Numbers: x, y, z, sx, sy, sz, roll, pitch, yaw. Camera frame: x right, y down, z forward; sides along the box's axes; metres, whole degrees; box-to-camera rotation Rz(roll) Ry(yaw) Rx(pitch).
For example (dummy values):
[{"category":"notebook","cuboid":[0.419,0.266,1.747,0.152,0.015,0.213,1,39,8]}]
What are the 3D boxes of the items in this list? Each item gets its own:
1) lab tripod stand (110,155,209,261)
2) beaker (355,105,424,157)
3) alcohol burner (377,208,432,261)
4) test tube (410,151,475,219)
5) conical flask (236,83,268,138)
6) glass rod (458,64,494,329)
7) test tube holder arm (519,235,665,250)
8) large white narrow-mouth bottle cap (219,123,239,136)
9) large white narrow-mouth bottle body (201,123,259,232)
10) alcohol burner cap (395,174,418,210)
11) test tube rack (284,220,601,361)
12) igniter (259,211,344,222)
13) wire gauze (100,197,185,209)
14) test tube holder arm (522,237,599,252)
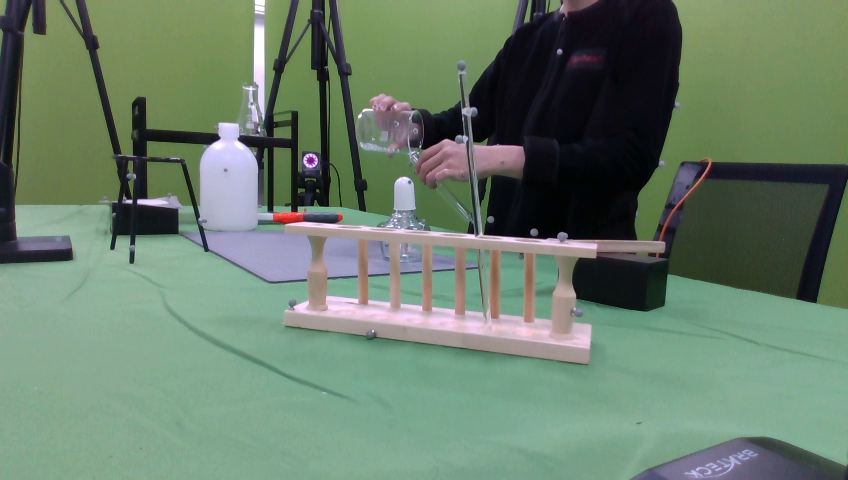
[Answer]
[{"category":"lab tripod stand","cuboid":[-0.361,-0.046,0.806,0.148,0.131,0.148,2,5,0]},{"category":"beaker","cuboid":[-0.059,-0.185,1.015,0.100,0.084,0.074,7,9,19]},{"category":"alcohol burner","cuboid":[-0.027,-0.031,0.838,0.078,0.119,0.078,0,6,0]},{"category":"test tube","cuboid":[0.030,-0.090,0.986,0.150,0.017,0.017,48,24,14]},{"category":"conical flask","cuboid":[-0.400,-0.298,1.396,0.075,0.122,0.075,2,8,0]},{"category":"glass rod","cuboid":[0.039,-0.029,0.449,0.008,0.199,0.008,-7,9,1]},{"category":"test tube holder arm","cuboid":[0.186,0.003,0.656,0.179,0.015,0.013,-1,16,-19]},{"category":"large white narrow-mouth bottle cap","cuboid":[-0.356,-0.201,1.104,0.038,0.024,0.037,2,8,0]},{"category":"large white narrow-mouth bottle body","cuboid":[-0.358,-0.116,1.116,0.102,0.194,0.102,2,8,0]},{"category":"alcohol burner cap","cuboid":[-0.026,-0.067,0.833,0.034,0.048,0.034,-2,12,1]},{"category":"test tube rack","cuboid":[0.013,0.032,0.482,0.242,0.085,0.067,4,7,16]},{"category":"igniter","cuboid":[-0.302,-0.048,1.249,0.278,0.025,0.057,-2,-2,-27]},{"category":"wire gauze","cuboid":[-0.469,-0.062,1.008,0.126,0.011,0.121,-2,8,-25]},{"category":"test tube holder arm","cuboid":[0.144,0.005,0.636,0.088,0.015,0.010,-1,16,-19]}]
